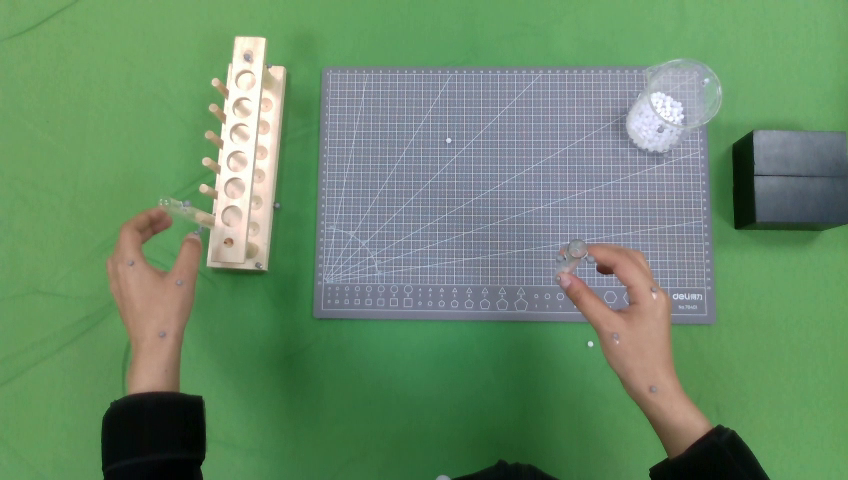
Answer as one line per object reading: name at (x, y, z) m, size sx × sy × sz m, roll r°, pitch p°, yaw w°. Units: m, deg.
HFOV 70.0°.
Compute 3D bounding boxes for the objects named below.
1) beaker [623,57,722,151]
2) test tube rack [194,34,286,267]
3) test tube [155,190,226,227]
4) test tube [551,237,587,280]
beaker at (0.261, -0.144, 0.656) m, size 0.084 × 0.100 × 0.074 m, roll 38°, pitch 85°, yaw 8°
test tube rack at (-0.208, -0.096, 0.673) m, size 0.067 × 0.085 × 0.241 m, roll 4°, pitch 83°, yaw 3°
test tube at (-0.236, -0.029, 0.620) m, size 0.017 × 0.151 × 0.017 m, roll 0°, pitch 83°, yaw 2°
test tube at (0.123, 0.019, 0.524) m, size 0.017 × 0.151 × 0.017 m, roll -1°, pitch 79°, yaw 7°
